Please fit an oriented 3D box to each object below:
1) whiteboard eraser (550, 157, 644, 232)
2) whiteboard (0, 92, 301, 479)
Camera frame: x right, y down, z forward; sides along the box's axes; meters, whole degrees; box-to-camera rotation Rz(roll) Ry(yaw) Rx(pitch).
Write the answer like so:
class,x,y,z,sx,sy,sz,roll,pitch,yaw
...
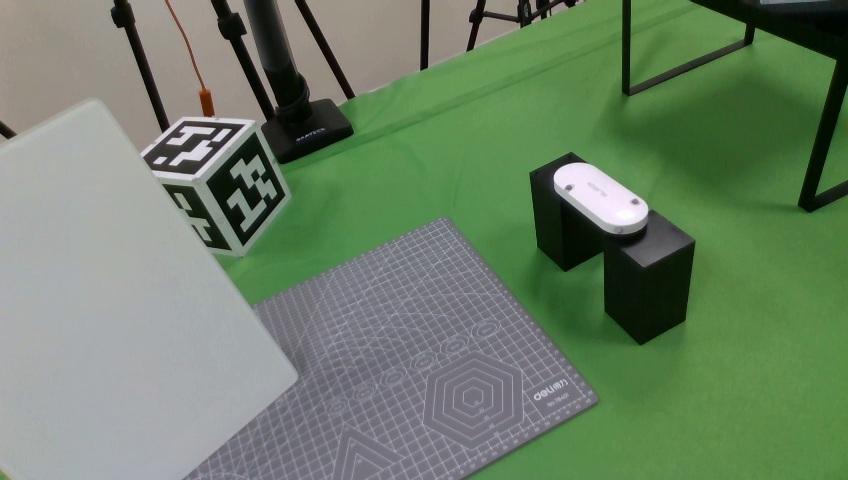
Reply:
class,x,y,z,sx,sy,sz,roll,pitch,yaw
whiteboard eraser,0.148,-0.043,0.528,0.041,0.019,0.100,-25,44,-13
whiteboard,-0.296,0.064,0.527,0.217,0.308,0.142,-41,28,-24
